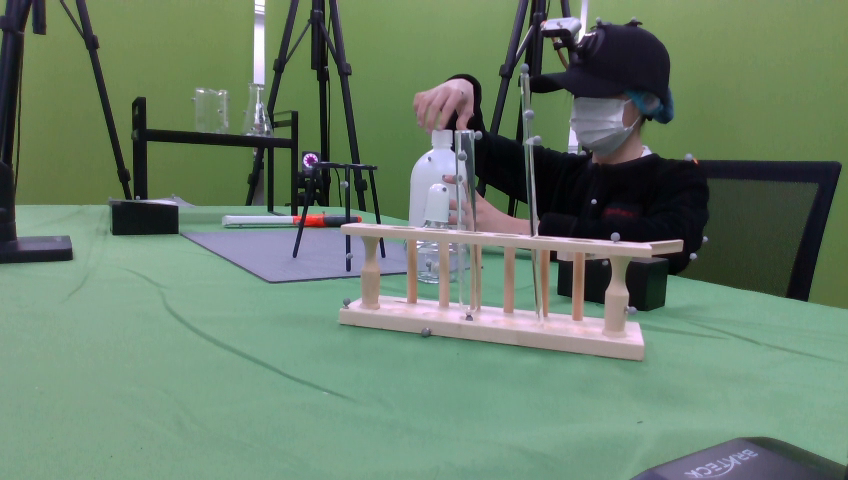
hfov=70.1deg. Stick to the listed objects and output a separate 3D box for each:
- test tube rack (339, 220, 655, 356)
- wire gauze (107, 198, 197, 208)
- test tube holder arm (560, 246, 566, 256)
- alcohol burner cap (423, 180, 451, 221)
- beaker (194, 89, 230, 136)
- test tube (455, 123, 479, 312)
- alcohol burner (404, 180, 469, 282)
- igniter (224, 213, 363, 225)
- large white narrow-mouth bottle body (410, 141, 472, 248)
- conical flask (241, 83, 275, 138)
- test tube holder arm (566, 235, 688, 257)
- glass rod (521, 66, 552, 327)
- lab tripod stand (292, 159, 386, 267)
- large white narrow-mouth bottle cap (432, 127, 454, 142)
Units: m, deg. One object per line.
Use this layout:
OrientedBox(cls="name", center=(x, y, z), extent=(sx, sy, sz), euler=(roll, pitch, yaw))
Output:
OrientedBox(cls="test tube rack", center=(0.056, 0.032, 0.495), extent=(0.242, 0.085, 0.067), euler=(4, 7, 15))
OrientedBox(cls="wire gauze", center=(-0.462, -0.064, 1.023), extent=(0.126, 0.011, 0.121), euler=(-2, 7, -32))
OrientedBox(cls="test tube holder arm", center=(0.173, 0.007, 0.611), extent=(0.088, 0.015, 0.010), euler=(-3, 9, -30))
OrientedBox(cls="alcohol burner cap", center=(0.017, -0.046, 0.711), extent=(0.034, 0.048, 0.034), euler=(8, 5, 0))
OrientedBox(cls="beaker", center=(-0.472, -0.283, 1.352), extent=(0.074, 0.100, 0.083), euler=(-4, 10, -35))
OrientedBox(cls="test tube", center=(0.034, -0.016, 0.476), extent=(0.017, 0.150, 0.017), euler=(-2, 10, 1))
OrientedBox(cls="alcohol burner", center=(0.015, -0.011, 0.715), extent=(0.078, 0.119, 0.078), euler=(0, 7, 0))
OrientedBox(cls="igniter", center=(-0.255, -0.041, 1.210), extent=(0.278, 0.025, 0.057), euler=(-2, -2, -31))
OrientedBox(cls="large white narrow-mouth bottle body", center=(0.029, -0.088, 1.005), extent=(0.102, 0.194, 0.102), euler=(2, 8, 0))
OrientedBox(cls="conical flask", center=(-0.383, -0.297, 1.392), extent=(0.075, 0.122, 0.075), euler=(2, 7, 0))
OrientedBox(cls="test tube holder arm", center=(0.215, 0.006, 0.629), extent=(0.179, 0.015, 0.013), euler=(-3, 9, -30))
OrientedBox(cls="glass rod", center=(0.085, -0.028, 0.454), extent=(0.008, 0.199, 0.008), euler=(-7, 10, 2))
OrientedBox(cls="lab tripod stand", center=(-0.105, -0.039, 0.798), extent=(0.148, 0.131, 0.148), euler=(2, 5, 0))
OrientedBox(cls="large white narrow-mouth bottle cap", center=(0.032, -0.173, 0.992), extent=(0.038, 0.024, 0.037), euler=(2, 8, 0))
